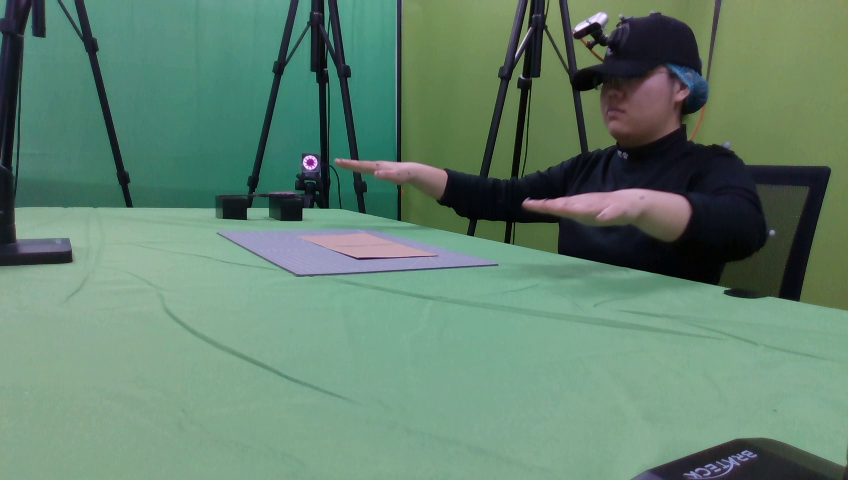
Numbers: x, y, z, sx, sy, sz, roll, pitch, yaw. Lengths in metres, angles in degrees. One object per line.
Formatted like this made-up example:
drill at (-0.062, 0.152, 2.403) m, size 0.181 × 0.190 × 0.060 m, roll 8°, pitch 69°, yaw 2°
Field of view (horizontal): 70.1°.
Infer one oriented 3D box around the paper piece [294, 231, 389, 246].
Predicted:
paper piece at (-0.138, -0.003, 1.045) m, size 0.136 × 0.004 × 0.134 m, roll -3°, pitch 10°, yaw -31°

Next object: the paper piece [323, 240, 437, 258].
paper piece at (-0.069, 0.015, 0.932) m, size 0.137 × 0.008 × 0.137 m, roll -5°, pitch 10°, yaw -30°

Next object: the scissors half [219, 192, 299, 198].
scissors half at (-0.370, -0.101, 1.362) m, size 0.176 × 0.013 × 0.040 m, roll -2°, pitch 9°, yaw -19°

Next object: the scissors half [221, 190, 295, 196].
scissors half at (-0.380, -0.105, 1.380) m, size 0.176 × 0.013 × 0.040 m, roll -5°, pitch 16°, yaw -36°
